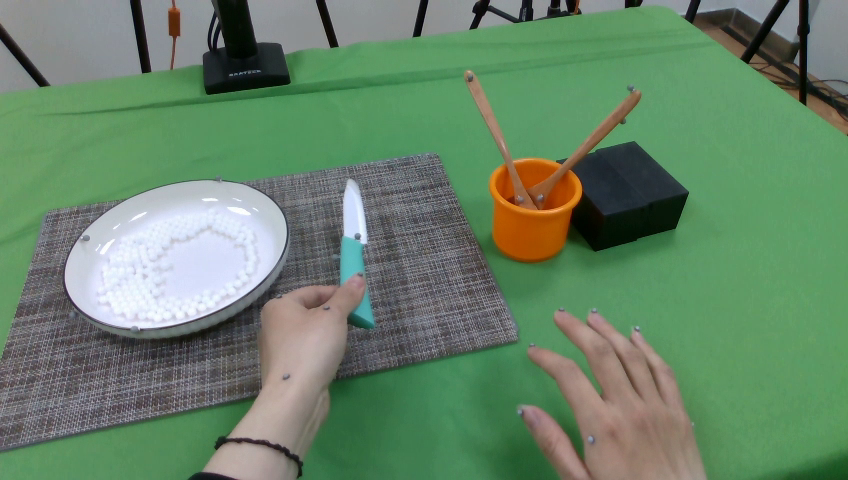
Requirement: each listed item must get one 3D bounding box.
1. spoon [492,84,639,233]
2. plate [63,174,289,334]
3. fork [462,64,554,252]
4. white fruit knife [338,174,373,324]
[{"bbox_3d":[0.142,-0.080,0.608,0.041,0.194,0.021,46,21,5],"label":"spoon"},{"bbox_3d":[-0.235,0.012,0.597,0.209,0.038,0.207,0,44,1],"label":"plate"},{"bbox_3d":[0.083,-0.085,0.619,0.028,0.018,0.207,-24,92,-7],"label":"fork"},{"bbox_3d":[-0.068,-0.001,0.571,0.027,0.016,0.205,1,41,-11],"label":"white fruit knife"}]
